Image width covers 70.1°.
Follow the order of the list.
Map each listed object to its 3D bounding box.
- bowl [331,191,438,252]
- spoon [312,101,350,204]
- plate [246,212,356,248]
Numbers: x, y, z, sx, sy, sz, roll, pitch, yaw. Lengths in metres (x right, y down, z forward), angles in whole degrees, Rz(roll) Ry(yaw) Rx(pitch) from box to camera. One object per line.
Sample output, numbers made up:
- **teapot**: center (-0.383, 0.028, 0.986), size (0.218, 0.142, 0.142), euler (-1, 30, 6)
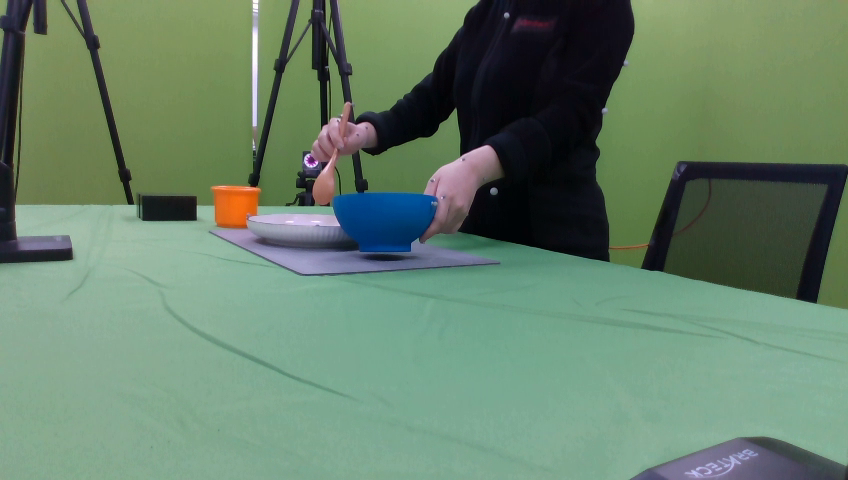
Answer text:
- **bowl**: center (-0.055, -0.022, 0.852), size (0.151, 0.076, 0.151), euler (0, -2, 0)
- **spoon**: center (-0.153, -0.151, 1.026), size (0.041, 0.193, 0.022), euler (3, -23, 24)
- **plate**: center (-0.185, -0.017, 0.994), size (0.209, 0.038, 0.209), euler (3, 8, 0)
